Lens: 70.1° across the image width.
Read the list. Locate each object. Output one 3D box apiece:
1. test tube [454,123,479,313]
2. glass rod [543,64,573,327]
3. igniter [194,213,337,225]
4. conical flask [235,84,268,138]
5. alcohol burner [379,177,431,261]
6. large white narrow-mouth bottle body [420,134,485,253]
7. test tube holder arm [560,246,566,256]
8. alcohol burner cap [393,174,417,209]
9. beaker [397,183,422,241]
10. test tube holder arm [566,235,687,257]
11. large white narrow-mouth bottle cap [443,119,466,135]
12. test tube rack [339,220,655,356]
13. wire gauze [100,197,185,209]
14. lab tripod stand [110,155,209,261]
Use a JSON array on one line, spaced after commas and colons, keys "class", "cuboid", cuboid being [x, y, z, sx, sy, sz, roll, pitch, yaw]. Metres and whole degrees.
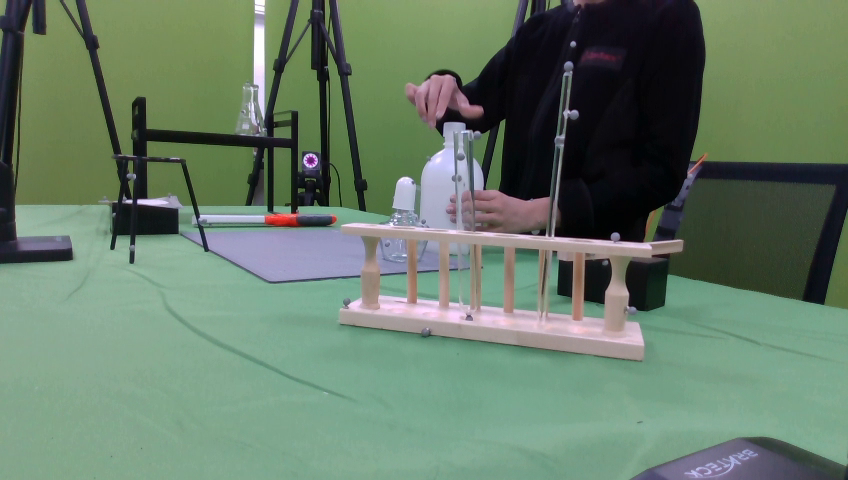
[{"class": "test tube", "cuboid": [0.034, -0.016, 0.477, 0.017, 0.150, 0.017, -2, 9, 1]}, {"class": "glass rod", "cuboid": [0.101, -0.028, 0.453, 0.008, 0.199, 0.008, 2, 14, 0]}, {"class": "igniter", "cuboid": [-0.306, -0.042, 1.196, 0.278, 0.025, 0.057, -2, -2, -30]}, {"class": "conical flask", "cuboid": [-0.402, -0.299, 1.406, 0.075, 0.122, 0.075, 2, 7, 0]}, {"class": "alcohol burner", "cuboid": [-0.027, -0.031, 0.838, 0.078, 0.119, 0.078, 0, 6, 0]}, {"class": "large white narrow-mouth bottle body", "cuboid": [0.046, -0.081, 0.956, 0.102, 0.194, 0.102, 2, 8, 0]}, {"class": "test tube holder arm", "cuboid": [0.173, 0.007, 0.612, 0.088, 0.015, 0.010, -3, 9, -30]}, {"class": "alcohol burner cap", "cuboid": [-0.025, -0.067, 0.834, 0.034, 0.048, 0.034, 8, 7, -1]}, {"class": "beaker", "cuboid": [-0.011, -0.051, 1.078, 0.074, 0.100, 0.083, -2, 9, -27]}, {"class": "test tube holder arm", "cuboid": [0.215, 0.006, 0.630, 0.179, 0.015, 0.013, -3, 9, -31]}, {"class": "large white narrow-mouth bottle cap", "cuboid": [0.048, -0.176, 0.942, 0.038, 0.024, 0.037, 2, 8, 0]}, {"class": "test tube rack", "cuboid": [0.056, 0.032, 0.495, 0.242, 0.085, 0.067, 4, 7, 15]}, {"class": "wire gauze", "cuboid": [-0.469, -0.062, 1.008, 0.126, 0.011, 0.121, -2, 8, -25]}, {"class": "lab tripod stand", "cuboid": [-0.361, -0.046, 0.806, 0.148, 0.131, 0.148, 2, 5, 0]}]
